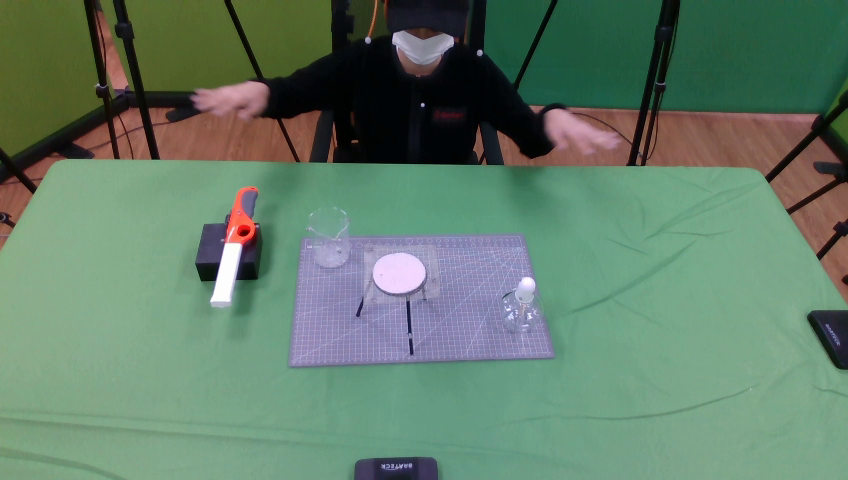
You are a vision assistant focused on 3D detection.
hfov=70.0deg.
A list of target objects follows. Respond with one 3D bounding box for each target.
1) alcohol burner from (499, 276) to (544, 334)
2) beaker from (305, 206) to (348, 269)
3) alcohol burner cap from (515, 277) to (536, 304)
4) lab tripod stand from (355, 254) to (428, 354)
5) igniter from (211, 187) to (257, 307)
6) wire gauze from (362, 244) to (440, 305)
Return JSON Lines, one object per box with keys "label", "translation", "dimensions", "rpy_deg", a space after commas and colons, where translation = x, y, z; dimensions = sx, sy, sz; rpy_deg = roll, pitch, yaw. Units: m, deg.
{"label": "alcohol burner", "translation": [0.170, 0.106, 1.041], "dimensions": [0.078, 0.120, 0.077], "rpy_deg": [1, 44, -1]}
{"label": "beaker", "translation": [-0.176, 0.001, 1.126], "dimensions": [0.074, 0.101, 0.083], "rpy_deg": [-14, 49, -16]}
{"label": "alcohol burner cap", "translation": [0.171, 0.083, 1.015], "dimensions": [0.034, 0.048, 0.033], "rpy_deg": [0, 52, 0]}
{"label": "lab tripod stand", "translation": [-0.046, 0.100, 1.017], "dimensions": [0.148, 0.132, 0.147], "rpy_deg": [1, 47, -1]}
{"label": "igniter", "translation": [-0.343, 0.003, 1.100], "dimensions": [0.057, 0.025, 0.274], "rpy_deg": [2, 49, -4]}
{"label": "wire gauze", "translation": [-0.038, 0.051, 0.971], "dimensions": [0.121, 0.011, 0.124], "rpy_deg": [-1, 46, -4]}
